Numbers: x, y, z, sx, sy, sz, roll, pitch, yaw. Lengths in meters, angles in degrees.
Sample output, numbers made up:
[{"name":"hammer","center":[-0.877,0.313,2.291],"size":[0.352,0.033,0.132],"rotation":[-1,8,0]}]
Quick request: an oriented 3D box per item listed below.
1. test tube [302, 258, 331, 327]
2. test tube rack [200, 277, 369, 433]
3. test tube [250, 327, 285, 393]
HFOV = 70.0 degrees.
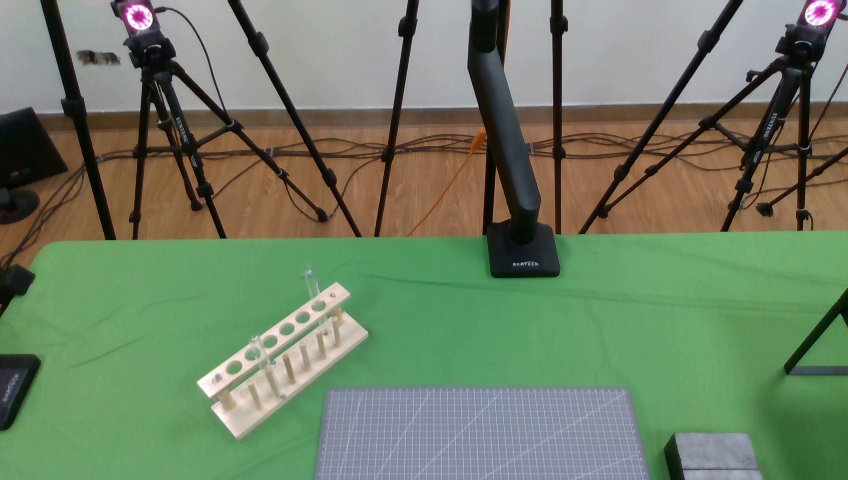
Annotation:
[{"name":"test tube","center":[-0.158,0.082,0.901],"size":[0.017,0.151,0.017],"rotation":[-2,46,3]},{"name":"test tube rack","center":[-0.196,0.165,0.895],"size":[0.242,0.086,0.066],"rotation":[-37,57,-27]},{"name":"test tube","center":[-0.215,0.167,0.834],"size":[0.017,0.152,0.017],"rotation":[-2,46,2]}]
